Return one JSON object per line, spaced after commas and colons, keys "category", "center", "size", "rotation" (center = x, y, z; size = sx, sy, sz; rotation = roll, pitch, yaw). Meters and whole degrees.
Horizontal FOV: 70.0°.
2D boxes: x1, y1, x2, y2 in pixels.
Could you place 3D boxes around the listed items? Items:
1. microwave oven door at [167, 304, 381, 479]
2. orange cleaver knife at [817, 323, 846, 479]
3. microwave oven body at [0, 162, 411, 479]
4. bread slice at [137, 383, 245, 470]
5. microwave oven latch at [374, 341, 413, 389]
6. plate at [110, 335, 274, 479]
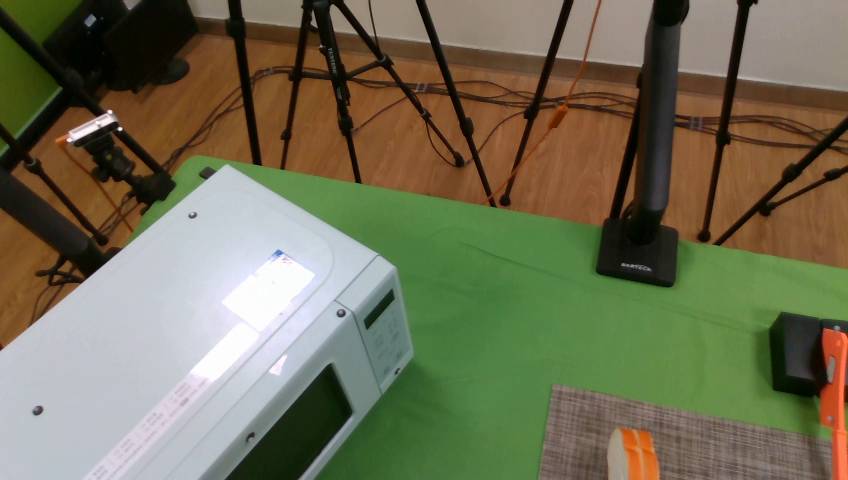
{"category": "microwave oven door", "center": [-0.190, 0.260, 0.696], "size": [0.039, 0.246, 0.355], "rotation": [29, 61, 24]}
{"category": "orange cleaver knife", "center": [0.529, 0.209, 0.789], "size": [0.012, 0.078, 0.210], "rotation": [6, 75, 12]}
{"category": "microwave oven body", "center": [-0.281, 0.170, 0.776], "size": [0.323, 0.262, 0.440], "rotation": [30, 62, 23]}
{"category": "bread slice", "center": [-0.303, 0.251, 0.796], "size": [0.134, 0.018, 0.106], "rotation": [-8, 52, -13]}
{"category": "microwave oven latch", "center": [-0.048, 0.174, 0.872], "size": [0.030, 0.030, 0.079], "rotation": [31, 63, 24]}
{"category": "plate", "center": [-0.303, 0.226, 0.806], "size": [0.208, 0.039, 0.205], "rotation": [0, 52, 0]}
